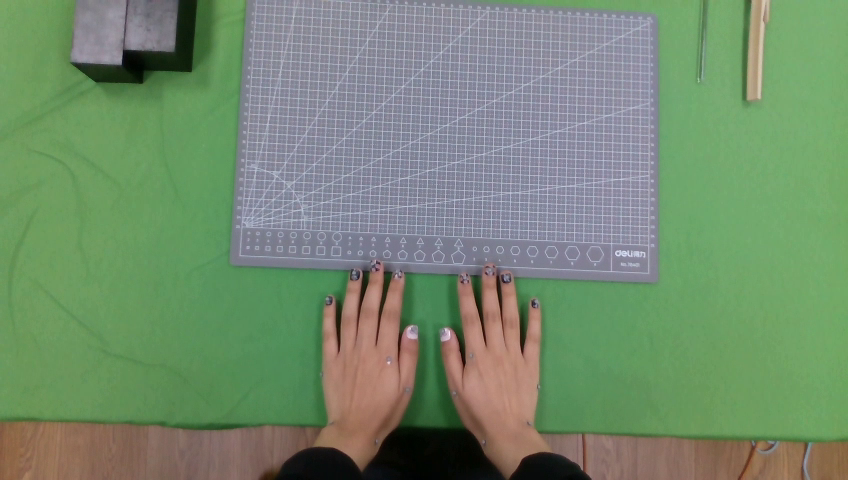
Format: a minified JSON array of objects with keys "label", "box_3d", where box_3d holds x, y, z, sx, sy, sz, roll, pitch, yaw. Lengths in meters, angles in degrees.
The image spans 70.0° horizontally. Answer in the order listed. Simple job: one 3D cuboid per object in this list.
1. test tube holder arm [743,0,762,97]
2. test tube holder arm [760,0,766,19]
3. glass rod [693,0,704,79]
[{"label":"test tube holder arm","box_3d":[0.368,-0.246,0.673,0.013,0.015,0.178,12,83,-31]},{"label":"test tube holder arm","box_3d":[0.379,-0.290,0.681,0.010,0.015,0.087,12,83,-31]},{"label":"glass rod","box_3d":[0.312,-0.278,0.681,0.008,0.008,0.199,7,84,-2]}]
